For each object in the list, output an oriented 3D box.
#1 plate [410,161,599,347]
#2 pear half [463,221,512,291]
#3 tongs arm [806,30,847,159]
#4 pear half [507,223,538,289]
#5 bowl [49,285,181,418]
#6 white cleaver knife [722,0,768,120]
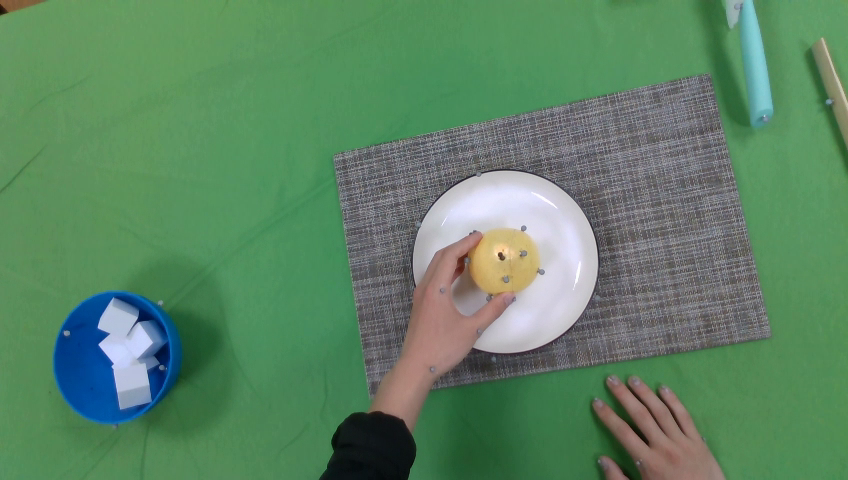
[{"bbox_3d":[0.089,0.016,0.684,0.207,0.039,0.207,-1,84,9],"label":"plate"},{"bbox_3d":[0.068,0.015,0.641,0.056,0.110,0.076,-3,78,8],"label":"pear half"},{"bbox_3d":[0.485,-0.045,0.640,0.028,0.028,0.386,-18,82,5],"label":"tongs arm"},{"bbox_3d":[0.106,0.016,0.645,0.031,0.088,0.070,-5,79,10],"label":"pear half"},{"bbox_3d":[-0.349,0.129,0.720,0.151,0.077,0.151,-1,84,9],"label":"bowl"},{"bbox_3d":[0.339,-0.274,0.660,0.021,0.066,0.286,-9,93,12],"label":"white cleaver knife"}]
